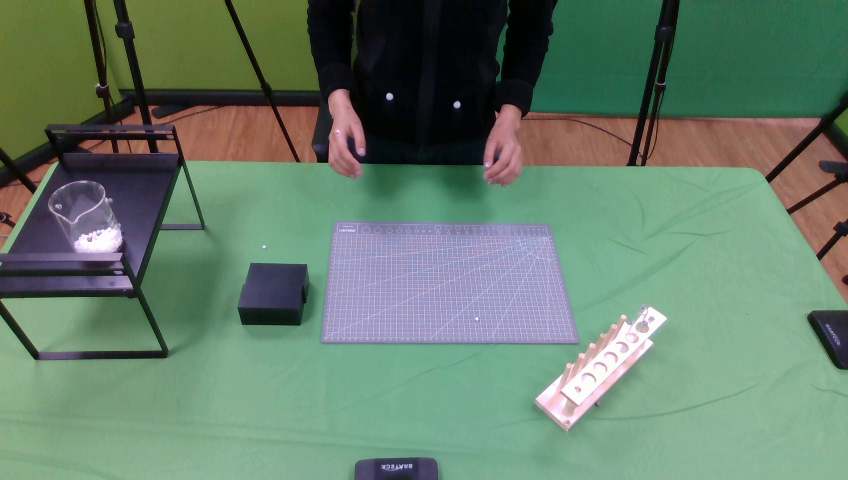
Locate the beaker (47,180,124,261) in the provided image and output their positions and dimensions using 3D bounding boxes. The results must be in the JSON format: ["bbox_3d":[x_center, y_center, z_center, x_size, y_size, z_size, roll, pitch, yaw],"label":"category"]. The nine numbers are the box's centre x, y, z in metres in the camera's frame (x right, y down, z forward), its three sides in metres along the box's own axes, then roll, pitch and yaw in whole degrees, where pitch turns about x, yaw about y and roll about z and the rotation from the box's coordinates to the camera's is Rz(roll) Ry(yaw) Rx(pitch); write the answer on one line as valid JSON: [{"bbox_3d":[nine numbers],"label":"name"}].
[{"bbox_3d":[-0.486,-0.024,0.879,0.074,0.101,0.083,-7,48,-9],"label":"beaker"}]

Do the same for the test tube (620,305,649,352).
[{"bbox_3d":[0.330,0.150,0.960,0.017,0.151,0.017,-1,50,1],"label":"test tube"}]

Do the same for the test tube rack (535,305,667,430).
[{"bbox_3d":[0.290,0.193,0.984,0.242,0.085,0.066,-32,57,-30],"label":"test tube rack"}]
